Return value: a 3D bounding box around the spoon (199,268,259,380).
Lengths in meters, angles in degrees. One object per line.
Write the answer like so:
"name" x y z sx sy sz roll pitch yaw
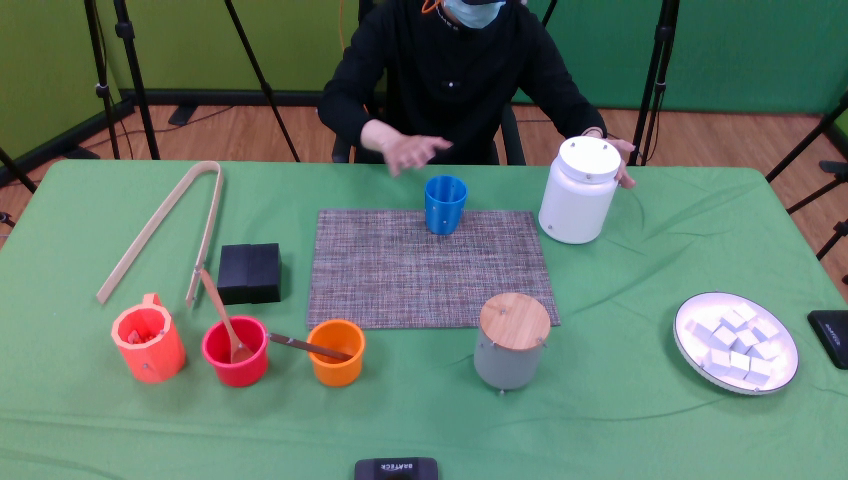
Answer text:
"spoon" -0.312 0.132 0.962 0.041 0.021 0.194 -24 96 -22

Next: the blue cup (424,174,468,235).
"blue cup" 0.039 -0.065 1.201 0.093 0.101 0.092 3 46 -3

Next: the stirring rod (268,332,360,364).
"stirring rod" -0.167 0.169 0.942 0.177 0.006 0.014 26 25 -41

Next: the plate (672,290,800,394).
"plate" 0.533 0.178 1.050 0.208 0.039 0.206 2 46 -2

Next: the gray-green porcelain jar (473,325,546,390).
"gray-green porcelain jar" 0.135 0.170 0.969 0.106 0.127 0.105 2 46 -2

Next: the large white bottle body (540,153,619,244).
"large white bottle body" 0.308 -0.097 1.198 0.131 0.185 0.130 2 46 -1

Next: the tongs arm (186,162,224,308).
"tongs arm" -0.435 -0.025 1.181 0.051 0.027 0.382 -3 45 1

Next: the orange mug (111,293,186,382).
"orange mug" -0.435 0.149 0.969 0.083 0.101 0.125 -5 51 -8

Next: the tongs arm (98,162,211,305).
"tongs arm" -0.519 -0.027 1.184 0.028 0.028 0.385 5 45 13

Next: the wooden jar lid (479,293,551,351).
"wooden jar lid" 0.137 0.127 0.925 0.108 0.021 0.107 1 47 -1

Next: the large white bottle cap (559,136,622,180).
"large white bottle cap" 0.312 -0.156 1.137 0.115 0.018 0.114 2 46 -2
